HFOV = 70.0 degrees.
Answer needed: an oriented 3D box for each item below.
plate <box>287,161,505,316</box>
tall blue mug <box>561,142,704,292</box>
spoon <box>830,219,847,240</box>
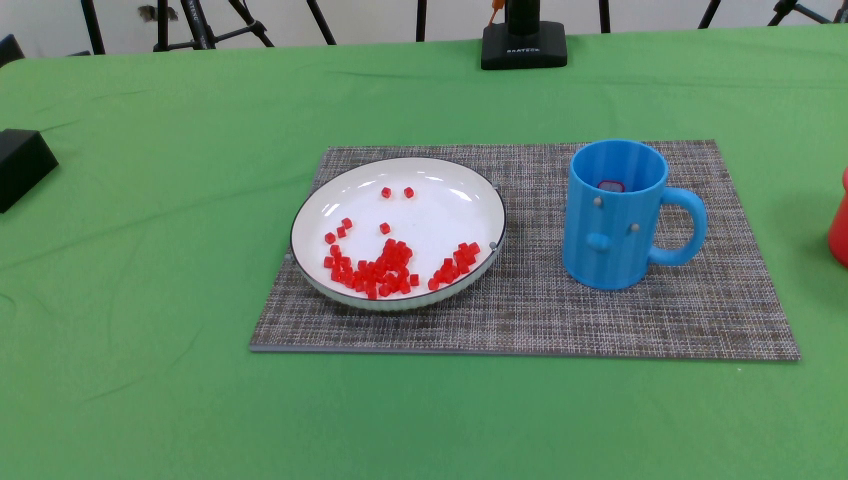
[{"bbox_3d":[-0.025,-0.002,0.587,0.207,0.039,0.205,-4,42,4],"label":"plate"},{"bbox_3d":[0.176,-0.020,0.524,0.107,0.109,0.077,-5,42,3],"label":"tall blue mug"},{"bbox_3d":[0.427,-0.027,0.478,0.041,0.193,0.021,-35,94,-32],"label":"spoon"}]
